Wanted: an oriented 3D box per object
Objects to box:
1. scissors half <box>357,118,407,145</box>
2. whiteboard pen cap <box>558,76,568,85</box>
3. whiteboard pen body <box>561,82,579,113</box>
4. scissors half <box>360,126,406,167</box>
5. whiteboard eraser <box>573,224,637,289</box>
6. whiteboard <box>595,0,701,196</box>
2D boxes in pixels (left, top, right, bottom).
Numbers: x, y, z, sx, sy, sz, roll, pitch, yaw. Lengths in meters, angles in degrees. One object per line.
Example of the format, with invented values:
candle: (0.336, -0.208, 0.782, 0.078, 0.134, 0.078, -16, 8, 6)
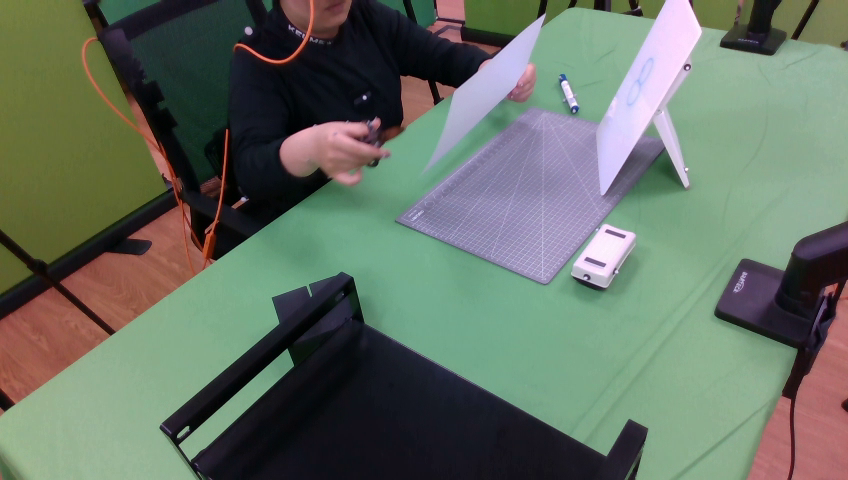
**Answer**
scissors half: (-0.063, -0.159, 0.880, 0.013, 0.040, 0.174, -10, 12, -26)
whiteboard pen cap: (0.309, -0.350, 1.341, 0.018, 0.018, 0.033, -6, 41, 2)
whiteboard pen body: (0.310, -0.312, 1.298, 0.017, 0.017, 0.140, -6, 42, 2)
scissors half: (-0.060, -0.139, 0.882, 0.013, 0.040, 0.174, -16, -1, -25)
whiteboard eraser: (0.267, 0.025, 0.891, 0.055, 0.042, 0.113, 19, 47, 31)
whiteboard: (0.420, -0.227, 1.010, 0.144, 0.305, 0.216, 18, 42, -2)
